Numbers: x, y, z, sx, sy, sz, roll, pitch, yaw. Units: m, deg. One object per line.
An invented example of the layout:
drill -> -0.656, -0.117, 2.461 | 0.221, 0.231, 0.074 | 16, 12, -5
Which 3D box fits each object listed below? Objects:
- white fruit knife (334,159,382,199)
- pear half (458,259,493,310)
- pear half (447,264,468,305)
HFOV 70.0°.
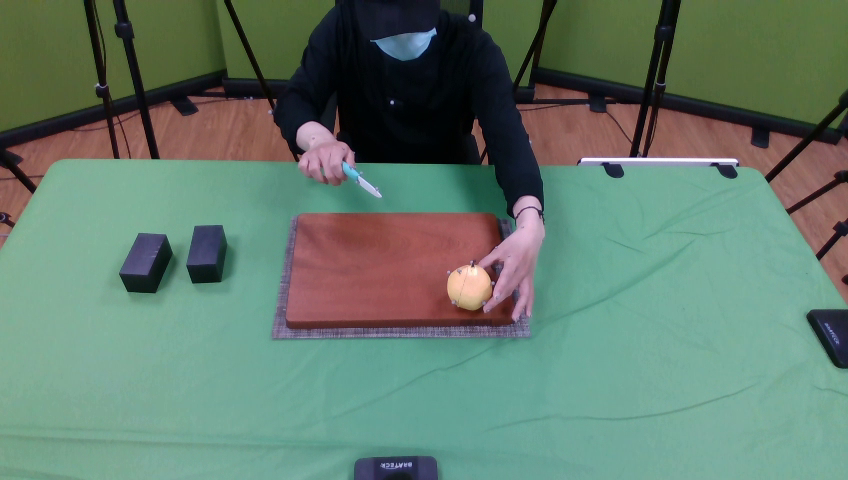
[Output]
white fruit knife -> -0.117, -0.109, 1.064 | 0.016, 0.027, 0.206 | -28, 34, -18
pear half -> 0.091, 0.072, 1.030 | 0.056, 0.110, 0.076 | 8, 50, 4
pear half -> 0.056, 0.072, 1.041 | 0.031, 0.088, 0.070 | 8, 53, 3
